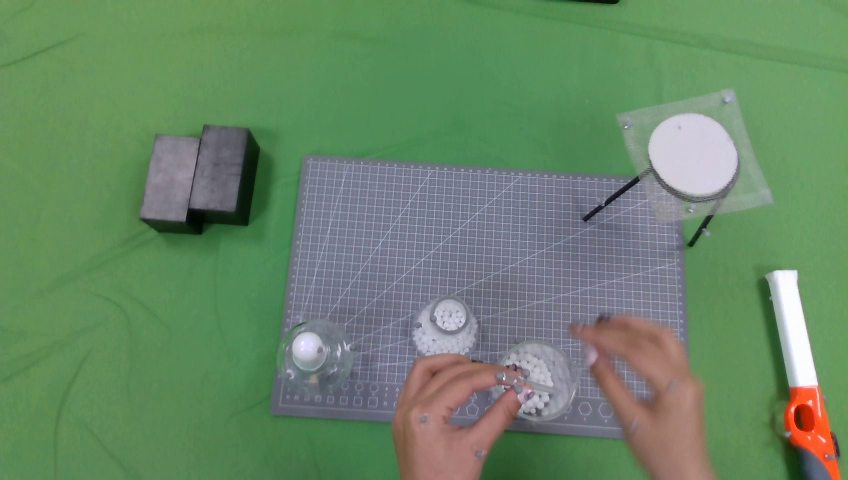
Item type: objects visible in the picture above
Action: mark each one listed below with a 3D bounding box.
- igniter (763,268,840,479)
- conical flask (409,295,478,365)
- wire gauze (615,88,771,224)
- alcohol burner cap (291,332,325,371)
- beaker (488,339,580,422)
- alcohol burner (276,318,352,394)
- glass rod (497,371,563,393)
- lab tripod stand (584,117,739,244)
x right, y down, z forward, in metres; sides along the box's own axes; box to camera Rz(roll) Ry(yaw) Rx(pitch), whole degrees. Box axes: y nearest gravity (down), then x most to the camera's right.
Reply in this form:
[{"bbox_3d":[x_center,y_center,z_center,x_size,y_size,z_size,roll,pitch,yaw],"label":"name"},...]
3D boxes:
[{"bbox_3d":[0.408,0.166,0.653,0.057,0.025,0.275,0,75,-12],"label":"igniter"},{"bbox_3d":[0.022,0.084,0.613,0.075,0.122,0.075,0,74,-1],"label":"conical flask"},{"bbox_3d":[0.263,-0.082,0.590,0.125,0.011,0.121,-12,77,-5],"label":"wire gauze"},{"bbox_3d":[-0.110,0.102,0.571,0.034,0.048,0.033,3,67,-7],"label":"alcohol burner cap"},{"bbox_3d":[0.106,0.142,0.612,0.084,0.100,0.073,-14,75,-6],"label":"beaker"},{"bbox_3d":[-0.112,0.114,0.606,0.078,0.119,0.077,1,73,-3],"label":"alcohol burner"},{"bbox_3d":[0.091,0.118,0.492,0.008,0.201,0.008,-7,72,23],"label":"glass rod"},{"bbox_3d":[0.259,-0.061,0.654,0.148,0.132,0.147,1,76,-2],"label":"lab tripod stand"}]
